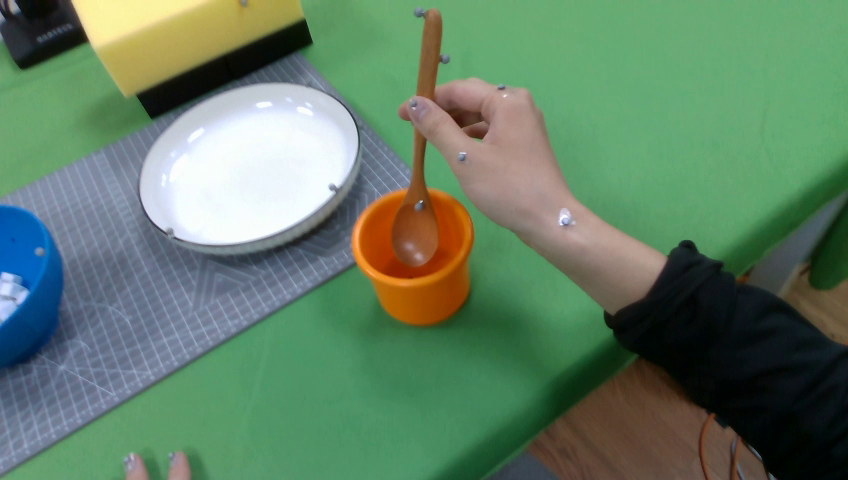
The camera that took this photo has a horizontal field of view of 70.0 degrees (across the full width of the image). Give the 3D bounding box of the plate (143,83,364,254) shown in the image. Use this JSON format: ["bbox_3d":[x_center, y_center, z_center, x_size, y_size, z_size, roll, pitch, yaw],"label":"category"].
[{"bbox_3d":[-0.157,-0.068,0.578,0.209,0.038,0.207,-3,54,5],"label":"plate"}]

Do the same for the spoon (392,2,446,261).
[{"bbox_3d":[0.000,-0.064,0.423,0.041,0.195,0.021,20,42,16],"label":"spoon"}]

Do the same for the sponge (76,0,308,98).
[{"bbox_3d":[-0.245,-0.246,0.648,0.207,0.061,0.117,-30,56,-14],"label":"sponge"}]

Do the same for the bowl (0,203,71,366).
[{"bbox_3d":[-0.351,0.052,0.492,0.151,0.077,0.150,-4,54,6],"label":"bowl"}]
